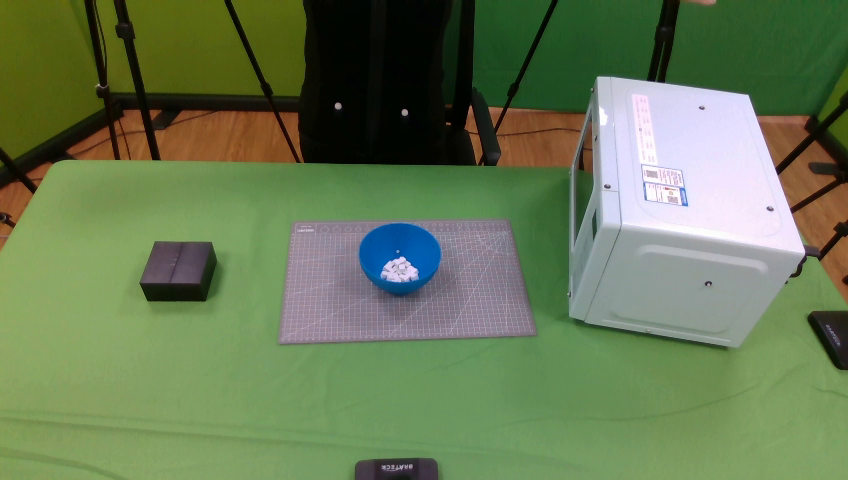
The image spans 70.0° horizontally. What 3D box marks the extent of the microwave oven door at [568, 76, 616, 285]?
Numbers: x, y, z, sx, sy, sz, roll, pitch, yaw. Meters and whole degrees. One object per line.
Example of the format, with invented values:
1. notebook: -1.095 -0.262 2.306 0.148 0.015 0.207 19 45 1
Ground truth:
1. microwave oven door: 0.319 -0.119 1.161 0.039 0.245 0.354 9 46 5

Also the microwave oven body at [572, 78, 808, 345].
1. microwave oven body: 0.456 -0.063 1.125 0.326 0.261 0.439 8 45 5

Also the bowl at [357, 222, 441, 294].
1. bowl: -0.047 0.046 1.107 0.151 0.077 0.150 2 46 -2

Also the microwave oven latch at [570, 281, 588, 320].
1. microwave oven latch: 0.275 0.105 1.083 0.030 0.029 0.079 9 45 6
